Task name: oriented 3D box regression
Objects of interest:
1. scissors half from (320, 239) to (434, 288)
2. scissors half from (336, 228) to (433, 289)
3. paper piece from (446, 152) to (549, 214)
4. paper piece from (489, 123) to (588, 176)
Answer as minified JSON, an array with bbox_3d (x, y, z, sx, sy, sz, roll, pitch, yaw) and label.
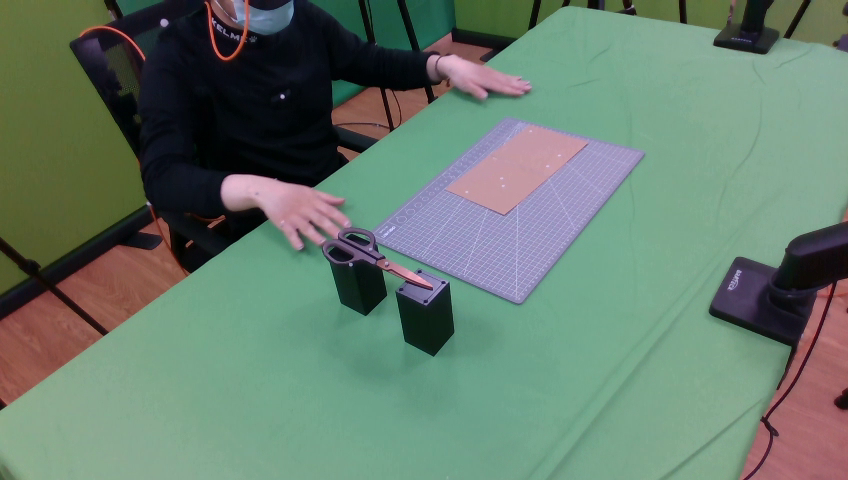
[{"bbox_3d":[-0.064,0.033,0.790,0.174,0.013,0.040,17,40,22],"label":"scissors half"},{"bbox_3d":[-0.052,0.023,0.803,0.173,0.013,0.040,31,52,34],"label":"scissors half"},{"bbox_3d":[0.130,-0.105,1.079,0.134,0.004,0.136,28,52,33],"label":"paper piece"},{"bbox_3d":[0.218,-0.176,1.150,0.135,0.009,0.138,30,52,31],"label":"paper piece"}]
